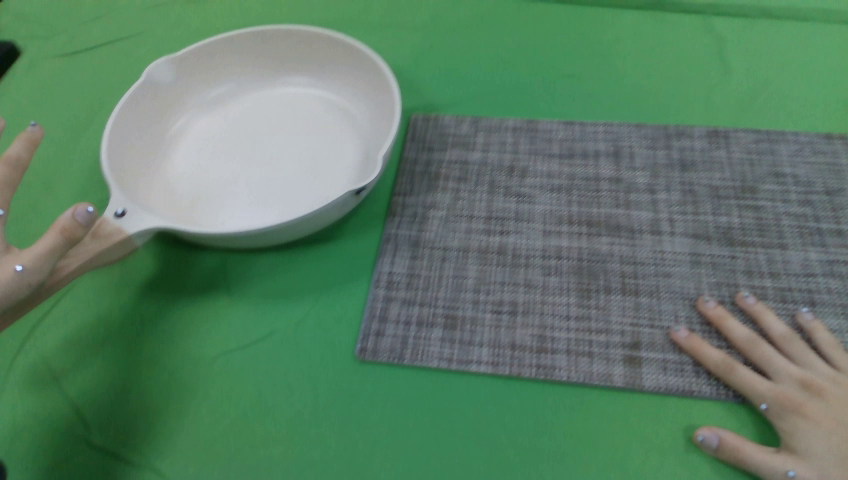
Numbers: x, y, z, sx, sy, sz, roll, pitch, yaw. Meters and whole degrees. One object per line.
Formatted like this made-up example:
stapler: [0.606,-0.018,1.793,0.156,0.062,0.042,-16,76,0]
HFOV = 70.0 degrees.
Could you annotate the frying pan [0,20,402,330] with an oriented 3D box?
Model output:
frying pan: [-0.228,-0.050,0.561,0.304,0.103,0.487,30,54,24]
